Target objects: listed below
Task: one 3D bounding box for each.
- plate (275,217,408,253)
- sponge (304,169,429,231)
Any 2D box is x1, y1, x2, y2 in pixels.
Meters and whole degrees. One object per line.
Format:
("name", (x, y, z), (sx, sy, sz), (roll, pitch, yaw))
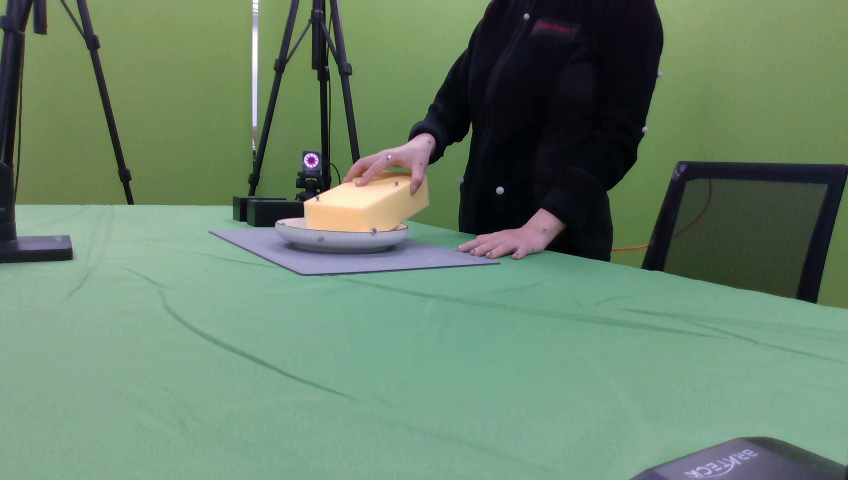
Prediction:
("plate", (-0.129, -0.009, 0.954), (0.209, 0.038, 0.209), (2, 7, 0))
("sponge", (-0.091, -0.063, 1.024), (0.118, 0.061, 0.207), (6, 24, 27))
